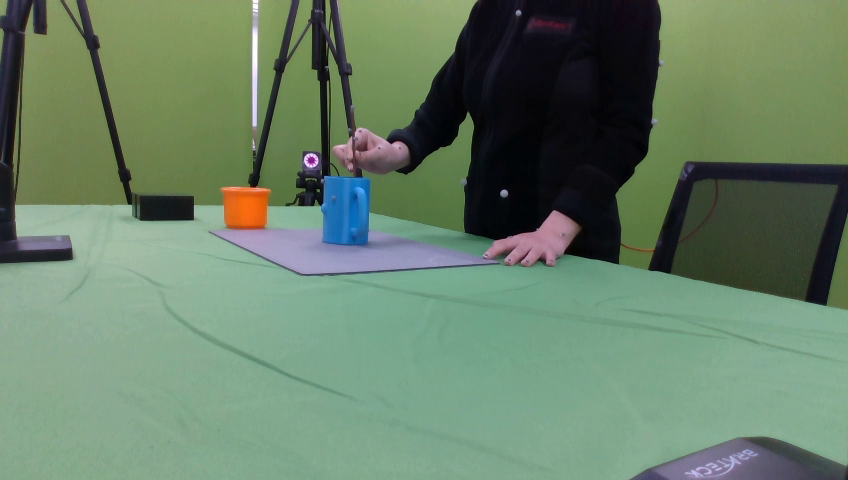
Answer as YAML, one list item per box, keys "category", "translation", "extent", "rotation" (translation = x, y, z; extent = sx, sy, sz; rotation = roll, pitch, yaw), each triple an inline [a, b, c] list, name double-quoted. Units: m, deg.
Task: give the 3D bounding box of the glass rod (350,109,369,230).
- category: "glass rod"
  translation: [-0.107, -0.115, 0.991]
  extent: [0.008, 0.199, 0.008]
  rotation: [-7, 1, 0]

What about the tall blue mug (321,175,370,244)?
- category: "tall blue mug"
  translation: [-0.116, -0.049, 0.991]
  extent: [0.106, 0.108, 0.078]
  rotation: [7, 8, 33]
